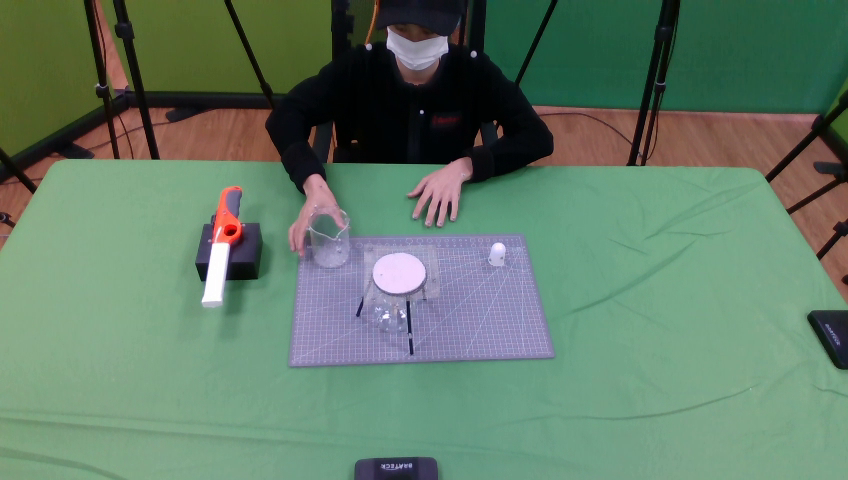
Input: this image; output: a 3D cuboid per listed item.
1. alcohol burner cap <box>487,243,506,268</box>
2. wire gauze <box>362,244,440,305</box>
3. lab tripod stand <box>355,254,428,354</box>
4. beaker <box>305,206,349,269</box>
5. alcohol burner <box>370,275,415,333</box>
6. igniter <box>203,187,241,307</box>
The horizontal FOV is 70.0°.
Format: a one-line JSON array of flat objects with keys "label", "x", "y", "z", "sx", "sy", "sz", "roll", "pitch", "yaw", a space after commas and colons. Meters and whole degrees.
[{"label": "alcohol burner cap", "x": 0.141, "y": 0.027, "z": 1.166, "sx": 0.034, "sy": 0.048, "sz": 0.033, "roll": 2, "pitch": 45, "yaw": -2}, {"label": "wire gauze", "x": -0.038, "y": 0.051, "z": 0.971, "sx": 0.121, "sy": 0.011, "sz": 0.124, "roll": -1, "pitch": 46, "yaw": -4}, {"label": "lab tripod stand", "x": -0.046, "y": 0.100, "z": 1.016, "sx": 0.148, "sy": 0.132, "sz": 0.147, "roll": 1, "pitch": 47, "yaw": -1}, {"label": "beaker", "x": -0.176, "y": 0.000, "z": 1.126, "sx": 0.074, "sy": 0.101, "sz": 0.083, "roll": -14, "pitch": 49, "yaw": -16}, {"label": "alcohol burner", "x": -0.054, "y": 0.103, "z": 1.026, "sx": 0.078, "sy": 0.120, "sz": 0.077, "roll": 1, "pitch": 44, "yaw": -1}, {"label": "igniter", "x": -0.365, "y": 0.003, "z": 1.098, "sx": 0.057, "sy": 0.025, "sz": 0.274, "roll": -1, "pitch": 49, "yaw": -7}]
